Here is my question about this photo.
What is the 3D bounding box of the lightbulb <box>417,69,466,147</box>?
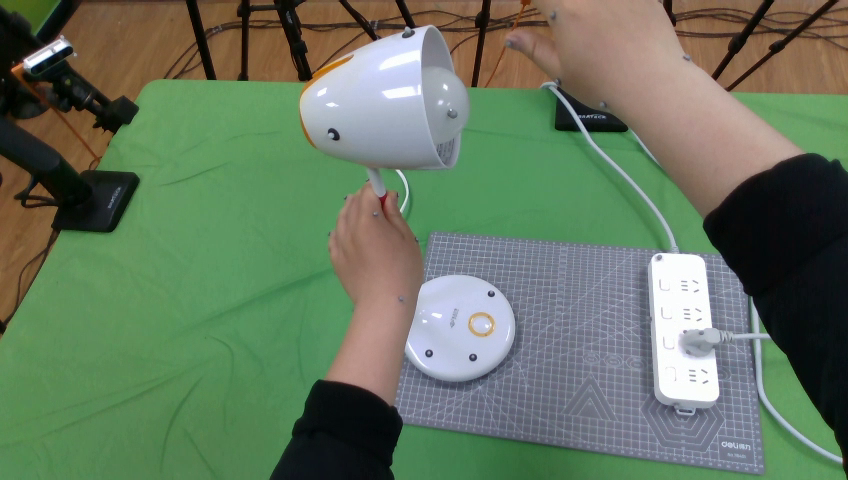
[{"bbox_3d":[-0.019,-0.105,0.484,0.107,0.060,0.059,3,57,18],"label":"lightbulb"}]

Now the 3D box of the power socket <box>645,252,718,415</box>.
[{"bbox_3d":[0.333,0.112,0.791,0.072,0.033,0.225,3,57,9],"label":"power socket"}]

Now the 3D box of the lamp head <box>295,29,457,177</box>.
[{"bbox_3d":[-0.040,-0.102,0.499,0.122,0.113,0.111,-9,55,21],"label":"lamp head"}]

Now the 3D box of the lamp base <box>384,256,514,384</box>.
[{"bbox_3d":[0.020,0.079,0.769,0.179,0.182,0.159,-2,56,11],"label":"lamp base"}]

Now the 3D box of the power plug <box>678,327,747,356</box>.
[{"bbox_3d":[0.355,0.131,0.753,0.072,0.053,0.035,13,61,13],"label":"power plug"}]
